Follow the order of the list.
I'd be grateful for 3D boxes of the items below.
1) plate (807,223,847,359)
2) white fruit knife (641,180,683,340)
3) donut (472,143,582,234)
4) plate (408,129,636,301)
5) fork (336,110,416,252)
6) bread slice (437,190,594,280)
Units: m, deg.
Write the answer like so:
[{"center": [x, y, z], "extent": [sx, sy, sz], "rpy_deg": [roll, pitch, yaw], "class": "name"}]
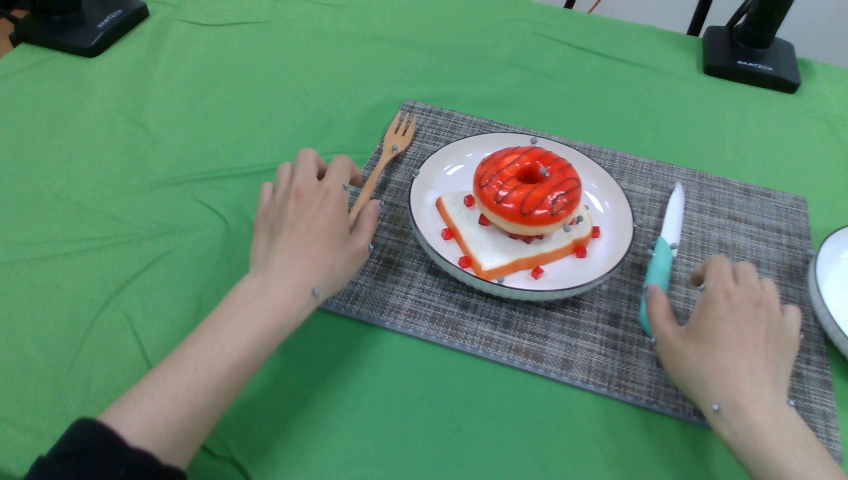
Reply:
[{"center": [0.434, 0.069, 0.522], "extent": [0.208, 0.039, 0.205], "rpy_deg": [3, 48, -3], "class": "plate"}, {"center": [0.227, 0.007, 0.569], "extent": [0.027, 0.016, 0.206], "rpy_deg": [39, 48, -10], "class": "white fruit knife"}, {"center": [0.091, -0.048, 0.540], "extent": [0.099, 0.048, 0.098], "rpy_deg": [3, 48, -3], "class": "donut"}, {"center": [0.088, -0.025, 0.567], "extent": [0.209, 0.038, 0.207], "rpy_deg": [3, 49, -3], "class": "plate"}, {"center": [-0.046, -0.066, 0.602], "extent": [0.028, 0.019, 0.206], "rpy_deg": [21, 48, -1], "class": "fork"}, {"center": [0.090, -0.020, 0.565], "extent": [0.132, 0.019, 0.103], "rpy_deg": [-16, 53, -18], "class": "bread slice"}]
